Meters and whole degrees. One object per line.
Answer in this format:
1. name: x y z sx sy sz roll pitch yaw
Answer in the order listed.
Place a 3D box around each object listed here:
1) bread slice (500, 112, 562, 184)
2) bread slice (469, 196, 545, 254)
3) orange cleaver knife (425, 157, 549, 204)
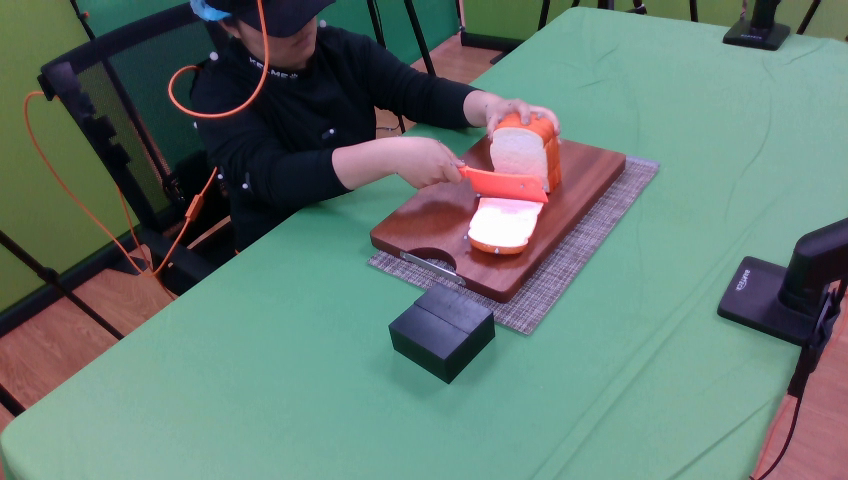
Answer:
1. bread slice: 0.177 -0.152 1.007 0.106 0.135 0.018 16 52 24
2. bread slice: 0.125 -0.024 0.943 0.104 0.019 0.131 8 39 18
3. orange cleaver knife: 0.103 -0.097 0.995 0.210 0.077 0.012 14 61 19
